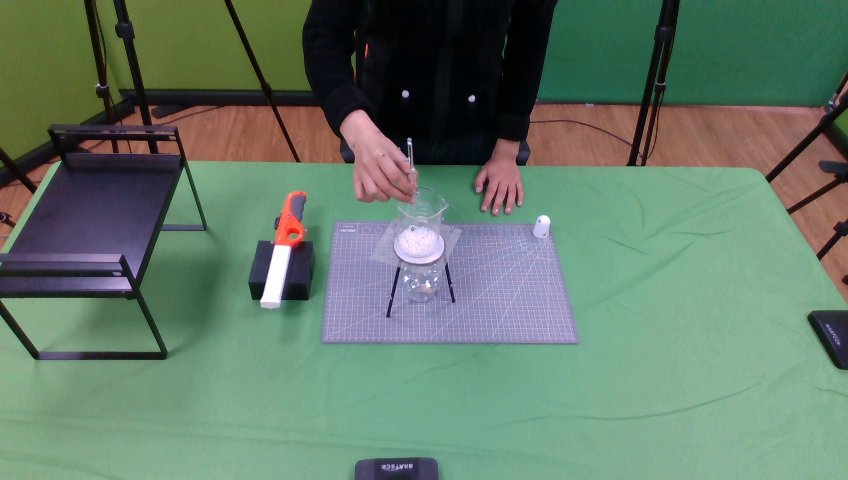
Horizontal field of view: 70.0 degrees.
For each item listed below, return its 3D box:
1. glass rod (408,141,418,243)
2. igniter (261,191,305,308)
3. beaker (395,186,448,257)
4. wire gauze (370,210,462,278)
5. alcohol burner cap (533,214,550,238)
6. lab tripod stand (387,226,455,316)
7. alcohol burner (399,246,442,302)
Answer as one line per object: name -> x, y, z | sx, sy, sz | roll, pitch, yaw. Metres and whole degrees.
glass rod -> -0.017, -0.068, 0.933 | 0.008, 0.201, 0.008 | -2, 43, 2
igniter -> -0.255, 0.007, 1.104 | 0.057, 0.025, 0.275 | 5, 47, -4
beaker -> -0.007, -0.027, 0.985 | 0.084, 0.101, 0.073 | 1, 48, -4
wire gauze -> -0.012, 0.007, 1.019 | 0.121, 0.011, 0.124 | 16, 51, 13
alcohol burner cap -> 0.240, -0.030, 1.229 | 0.034, 0.048, 0.033 | 1, 46, -1
lab tripod stand -> -0.013, 0.055, 1.064 | 0.148, 0.132, 0.147 | 2, 48, -2
alcohol burner -> -0.006, 0.055, 1.078 | 0.078, 0.119, 0.077 | 3, 44, -3
